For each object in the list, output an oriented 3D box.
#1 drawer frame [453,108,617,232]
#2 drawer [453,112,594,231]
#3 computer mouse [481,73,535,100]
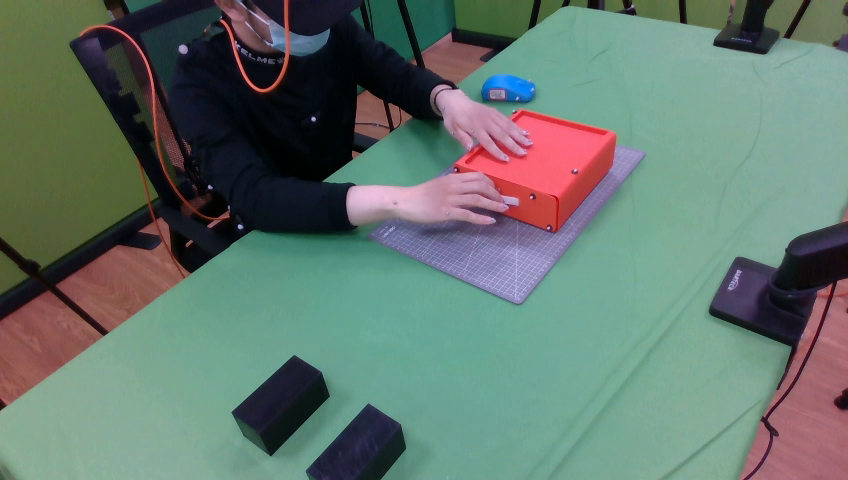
[{"bbox_3d":[0.191,-0.128,1.039,0.200,0.083,0.214,21,47,30],"label":"drawer frame"},{"bbox_3d":[0.189,-0.126,1.038,0.193,0.073,0.212,22,49,31],"label":"drawer"},{"bbox_3d":[0.183,-0.335,1.320,0.117,0.041,0.063,11,42,14],"label":"computer mouse"}]
